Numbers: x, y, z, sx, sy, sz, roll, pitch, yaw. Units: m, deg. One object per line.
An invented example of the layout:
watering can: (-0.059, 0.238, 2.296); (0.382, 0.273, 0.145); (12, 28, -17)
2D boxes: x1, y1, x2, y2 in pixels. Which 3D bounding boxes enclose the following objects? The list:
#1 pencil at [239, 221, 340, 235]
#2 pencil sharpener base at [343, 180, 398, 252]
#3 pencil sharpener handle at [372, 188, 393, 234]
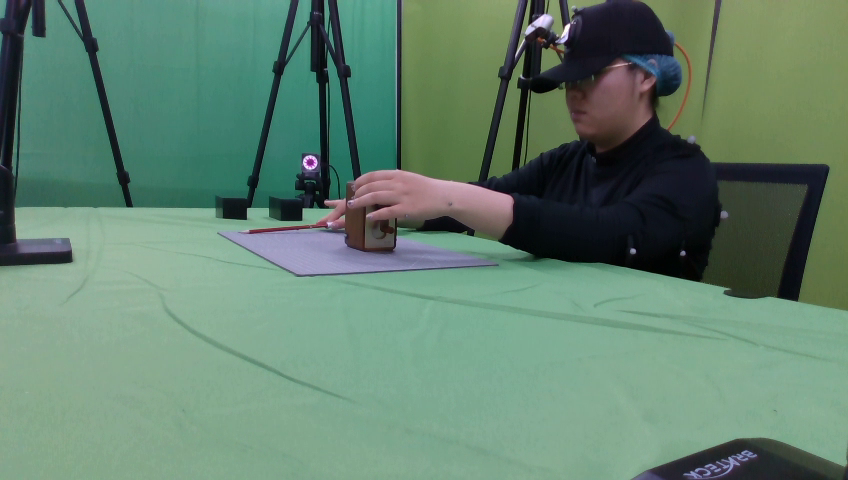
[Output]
pencil: (-0.245, -0.021, 1.120); (0.195, 0.012, 0.012); (-7, 11, -31)
pencil sharpener base: (-0.084, -0.038, 0.956); (0.062, 0.107, 0.076); (-1, 9, -33)
pencil sharpener handle: (-0.057, -0.043, 0.912); (0.036, 0.067, 0.030); (-1, 9, -33)
